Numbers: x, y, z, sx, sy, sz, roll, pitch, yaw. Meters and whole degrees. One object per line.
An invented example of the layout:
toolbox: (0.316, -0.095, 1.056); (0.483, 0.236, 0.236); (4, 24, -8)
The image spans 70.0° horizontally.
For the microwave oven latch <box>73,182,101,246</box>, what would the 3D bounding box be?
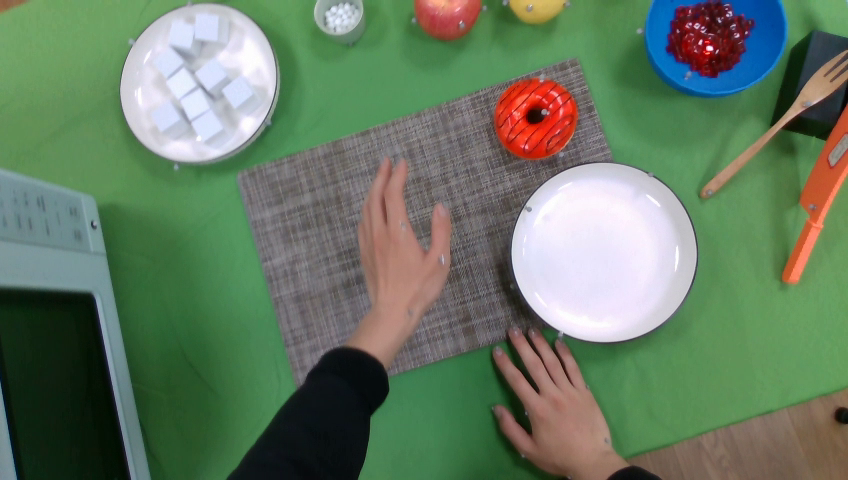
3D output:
microwave oven latch: (-0.427, -0.030, 0.753); (0.030, 0.029, 0.079); (-14, 84, 4)

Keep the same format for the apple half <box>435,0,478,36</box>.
apple half: (0.046, -0.277, 0.729); (0.032, 0.081, 0.081); (32, 88, 12)

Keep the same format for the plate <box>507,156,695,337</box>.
plate: (0.201, 0.008, 0.702); (0.209, 0.038, 0.208); (-1, 85, 6)

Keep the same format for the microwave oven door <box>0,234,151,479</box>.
microwave oven door: (-0.386, 0.171, 0.629); (0.039, 0.244, 0.354); (-15, 83, 4)

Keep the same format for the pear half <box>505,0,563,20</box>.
pear half: (0.127, -0.295, 0.705); (0.076, 0.110, 0.056); (14, 85, 12)

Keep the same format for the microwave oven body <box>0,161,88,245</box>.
microwave oven body: (-0.536, 0.168, 0.650); (0.326, 0.261, 0.440); (-15, 84, 4)

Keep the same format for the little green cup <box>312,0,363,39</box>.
little green cup: (-0.106, -0.285, 0.763); (0.061, 0.039, 0.061); (-1, 84, 6)

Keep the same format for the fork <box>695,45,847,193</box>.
fork: (0.385, -0.129, 0.675); (0.028, 0.018, 0.207); (42, 110, 2)

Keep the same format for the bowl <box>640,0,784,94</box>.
bowl: (0.317, -0.232, 0.696); (0.151, 0.077, 0.151); (0, 85, 6)

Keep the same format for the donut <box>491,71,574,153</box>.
donut: (0.128, -0.152, 0.720); (0.099, 0.048, 0.099); (-1, 86, 8)

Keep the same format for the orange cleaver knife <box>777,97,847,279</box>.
orange cleaver knife: (0.434, -0.058, 0.666); (0.012, 0.077, 0.212); (14, 116, 5)

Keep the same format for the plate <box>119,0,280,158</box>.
plate: (-0.281, -0.204, 0.774); (0.207, 0.039, 0.207); (-1, 85, 6)

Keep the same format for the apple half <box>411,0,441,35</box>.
apple half: (0.013, -0.296, 0.735); (0.053, 0.075, 0.081); (32, 91, 12)
